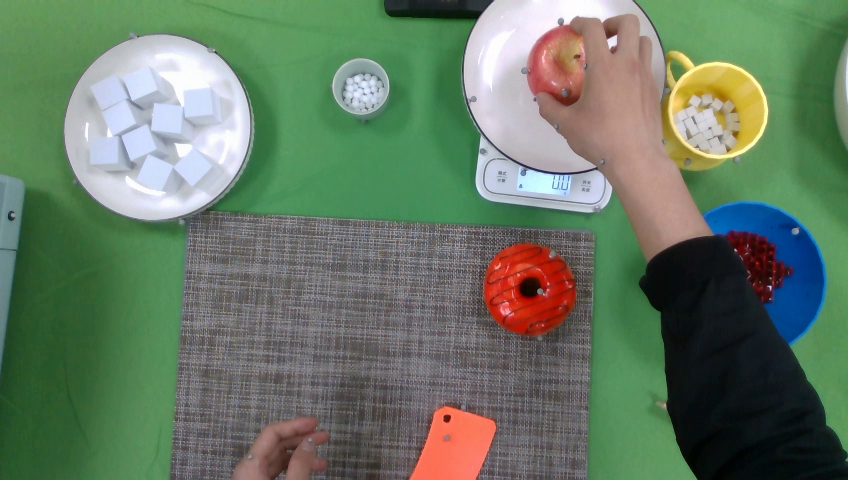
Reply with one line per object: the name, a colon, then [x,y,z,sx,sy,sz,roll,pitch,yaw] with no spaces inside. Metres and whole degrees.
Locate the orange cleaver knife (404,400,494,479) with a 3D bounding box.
orange cleaver knife: [0.000,0.266,0.645,0.077,0.012,0.211,32,86,-4]

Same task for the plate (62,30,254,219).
plate: [-0.288,-0.125,0.669,0.207,0.039,0.207,0,87,2]

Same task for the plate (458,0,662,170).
plate: [0.138,-0.175,0.630,0.209,0.038,0.208,0,87,1]

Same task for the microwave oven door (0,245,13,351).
microwave oven door: [-0.487,0.172,0.539,0.039,0.244,0.355,5,87,3]

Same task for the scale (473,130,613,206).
scale: [0.136,-0.143,0.661,0.148,0.031,0.200,7,88,2]

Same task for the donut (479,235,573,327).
donut: [0.107,0.043,0.641,0.099,0.048,0.099,0,87,4]

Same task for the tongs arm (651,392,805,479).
tongs arm: [0.404,0.270,0.631,0.387,0.028,0.028,33,81,3]

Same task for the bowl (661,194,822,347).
bowl: [0.310,0.031,0.624,0.151,0.077,0.151,0,88,2]

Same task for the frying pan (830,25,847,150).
frying pan: [0.604,-0.067,0.606,0.307,0.103,0.485,-24,79,1]

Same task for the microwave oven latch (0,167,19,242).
microwave oven latch: [-0.460,-0.039,0.651,0.030,0.029,0.079,8,88,2]

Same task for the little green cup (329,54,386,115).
little green cup: [-0.070,-0.168,0.665,0.061,0.038,0.061,0,87,2]

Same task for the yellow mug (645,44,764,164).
yellow mug: [0.285,-0.149,0.639,0.100,0.064,0.130,-30,86,1]

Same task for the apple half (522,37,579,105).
apple half: [0.118,-0.157,0.599,0.033,0.081,0.081,-38,86,3]

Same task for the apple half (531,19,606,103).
apple half: [0.148,-0.181,0.596,0.053,0.075,0.080,-38,81,4]
